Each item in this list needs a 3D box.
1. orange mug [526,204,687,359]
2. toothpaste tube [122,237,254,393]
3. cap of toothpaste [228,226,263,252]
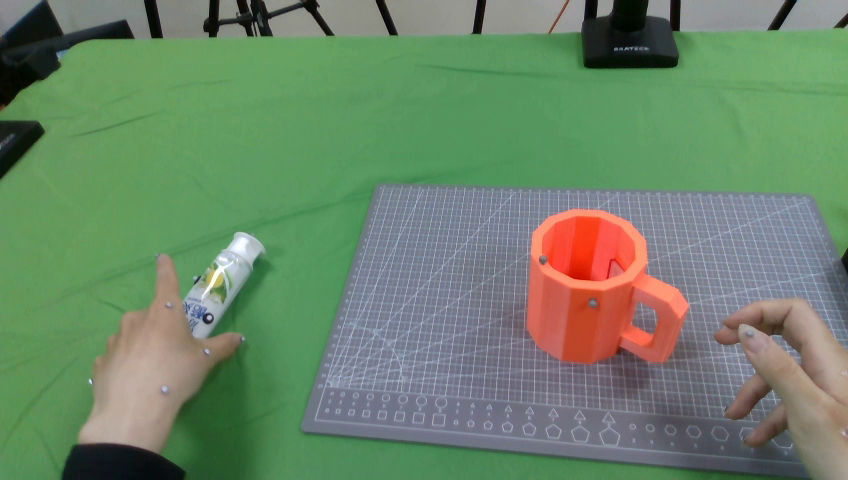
[{"bbox_3d":[0.140,0.041,0.480,0.125,0.102,0.083,26,54,33],"label":"orange mug"},{"bbox_3d":[-0.208,0.060,0.557,0.055,0.035,0.164,10,53,22],"label":"toothpaste tube"},{"bbox_3d":[-0.177,0.001,0.599,0.037,0.038,0.011,12,54,18],"label":"cap of toothpaste"}]
